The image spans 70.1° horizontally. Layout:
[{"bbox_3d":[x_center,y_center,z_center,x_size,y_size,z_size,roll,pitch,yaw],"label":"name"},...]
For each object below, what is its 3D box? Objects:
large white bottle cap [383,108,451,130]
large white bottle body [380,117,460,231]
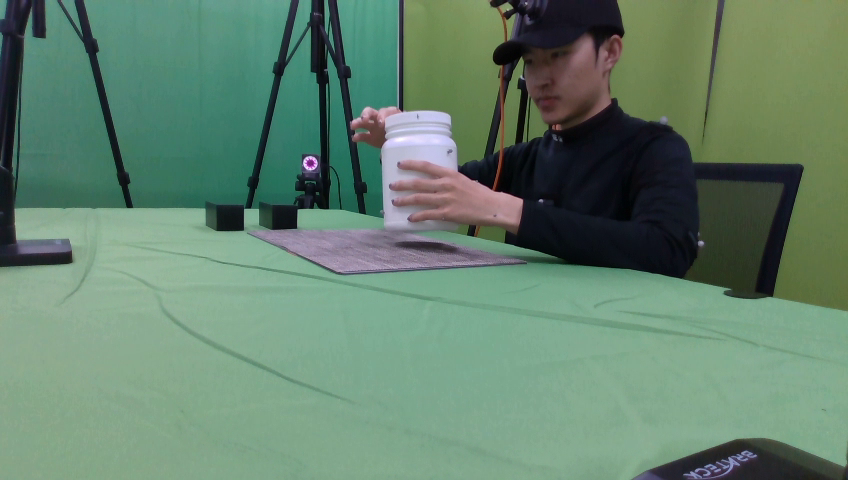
[{"bbox_3d":[-0.012,-0.201,1.026,0.115,0.018,0.115,-5,-2,0],"label":"large white bottle cap"},{"bbox_3d":[-0.007,-0.110,1.029,0.131,0.184,0.130,-3,1,0],"label":"large white bottle body"}]
